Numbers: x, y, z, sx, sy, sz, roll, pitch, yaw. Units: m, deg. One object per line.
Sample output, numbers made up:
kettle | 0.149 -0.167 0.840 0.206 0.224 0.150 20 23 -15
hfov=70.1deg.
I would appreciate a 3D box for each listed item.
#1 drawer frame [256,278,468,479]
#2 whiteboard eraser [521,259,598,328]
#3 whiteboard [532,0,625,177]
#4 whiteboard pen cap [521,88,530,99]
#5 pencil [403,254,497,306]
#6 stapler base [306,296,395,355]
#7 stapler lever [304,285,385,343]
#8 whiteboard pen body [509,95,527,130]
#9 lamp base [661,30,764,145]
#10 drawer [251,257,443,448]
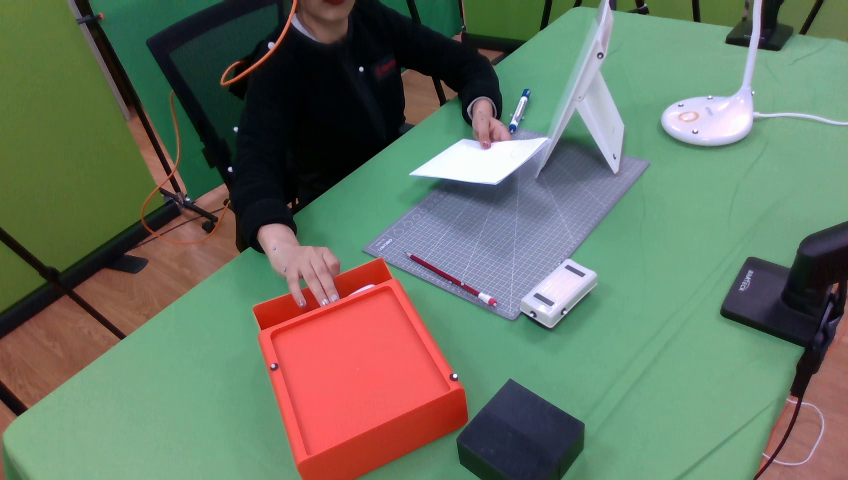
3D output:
drawer frame | -0.082 0.168 0.752 0.202 0.083 0.211 -21 42 -15
whiteboard eraser | 0.189 0.076 0.843 0.055 0.042 0.113 29 53 37
whiteboard | 0.321 -0.258 1.050 0.144 0.306 0.217 21 45 5
whiteboard pen cap | 0.218 -0.312 1.301 0.018 0.018 0.033 6 47 17
pencil | 0.034 0.057 0.914 0.192 0.012 0.012 26 52 38
stapler base | -0.105 0.114 0.852 0.131 0.024 0.041 -27 45 -9
stapler lever | -0.111 0.100 0.836 0.118 0.040 0.026 -24 44 -11
whiteboard pen body | 0.199 -0.273 1.261 0.017 0.017 0.140 8 45 19
lamp base | 0.535 -0.287 1.096 0.179 0.181 0.159 -10 40 -4
drawer | -0.104 0.138 0.793 0.195 0.073 0.210 -20 41 -14
